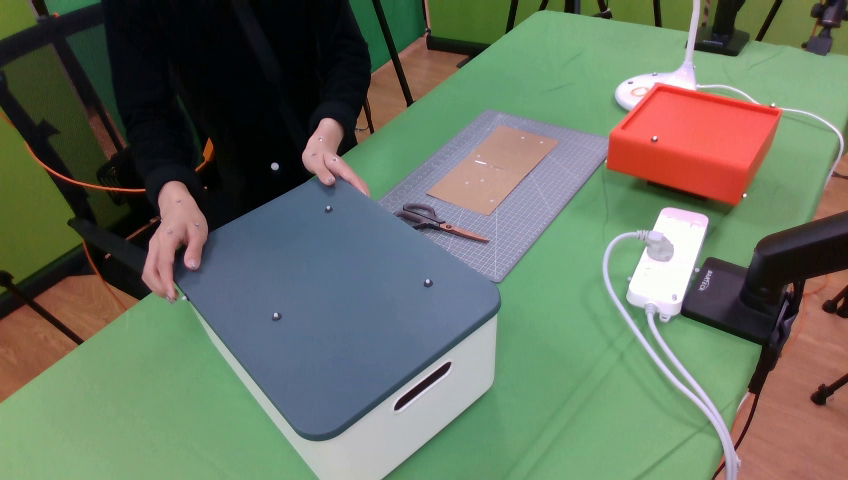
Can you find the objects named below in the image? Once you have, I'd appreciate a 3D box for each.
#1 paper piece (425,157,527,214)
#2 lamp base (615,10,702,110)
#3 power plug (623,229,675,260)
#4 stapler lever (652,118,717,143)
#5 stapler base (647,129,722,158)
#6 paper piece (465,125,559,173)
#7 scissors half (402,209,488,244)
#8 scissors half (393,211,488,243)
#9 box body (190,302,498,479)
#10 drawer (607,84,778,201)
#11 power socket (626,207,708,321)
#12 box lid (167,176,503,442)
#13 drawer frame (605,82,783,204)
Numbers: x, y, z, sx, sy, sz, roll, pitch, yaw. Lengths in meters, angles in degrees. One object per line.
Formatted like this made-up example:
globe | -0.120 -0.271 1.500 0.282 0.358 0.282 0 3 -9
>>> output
paper piece | 0.094 -0.102 1.089 0.134 0.004 0.136 22 48 30
lamp base | 0.484 -0.364 1.211 0.180 0.181 0.159 -15 41 -14
power plug | 0.327 0.007 0.878 0.072 0.053 0.035 25 51 33
stapler lever | 0.436 -0.192 1.014 0.118 0.040 0.026 -15 25 -16
stapler base | 0.439 -0.167 1.023 0.131 0.024 0.041 -16 25 -15
paper piece | 0.171 -0.177 1.167 0.137 0.009 0.136 21 44 30
scissors half | 0.035 -0.023 1.011 0.174 0.013 0.040 24 22 34
scissors half | 0.024 -0.019 0.994 0.174 0.013 0.040 16 23 18
box body | -0.110 0.103 0.761 0.255 0.161 0.361 -33 46 -27
drawer | 0.438 -0.167 0.995 0.210 0.073 0.195 23 48 30
power socket | 0.360 0.026 0.886 0.072 0.033 0.227 16 46 26
box lid | -0.119 0.046 0.714 0.264 0.015 0.368 -33 47 -27
drawer frame | 0.441 -0.167 0.995 0.212 0.083 0.202 23 48 30
